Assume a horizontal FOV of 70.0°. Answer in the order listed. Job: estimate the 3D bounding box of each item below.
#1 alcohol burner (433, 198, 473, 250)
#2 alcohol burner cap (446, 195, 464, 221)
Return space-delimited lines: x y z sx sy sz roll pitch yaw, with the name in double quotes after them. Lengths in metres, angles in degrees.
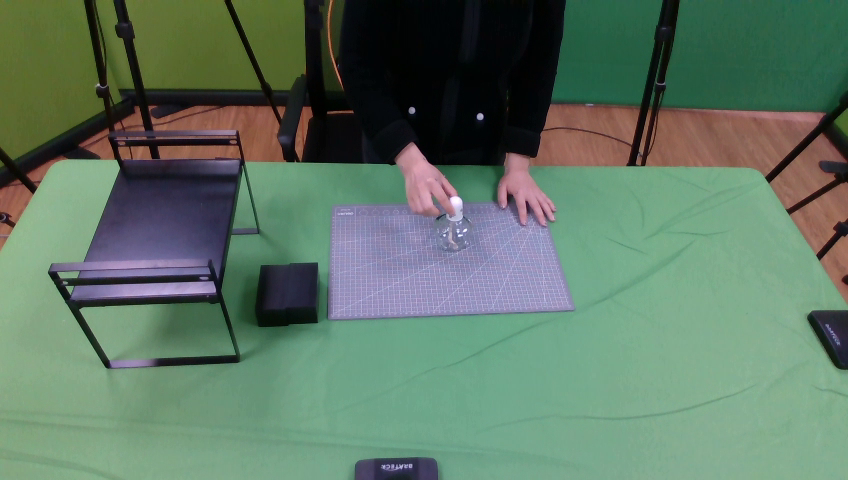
0.058 -0.038 1.169 0.078 0.119 0.077 3 45 -3 "alcohol burner"
0.059 -0.063 1.143 0.034 0.048 0.033 0 44 0 "alcohol burner cap"
